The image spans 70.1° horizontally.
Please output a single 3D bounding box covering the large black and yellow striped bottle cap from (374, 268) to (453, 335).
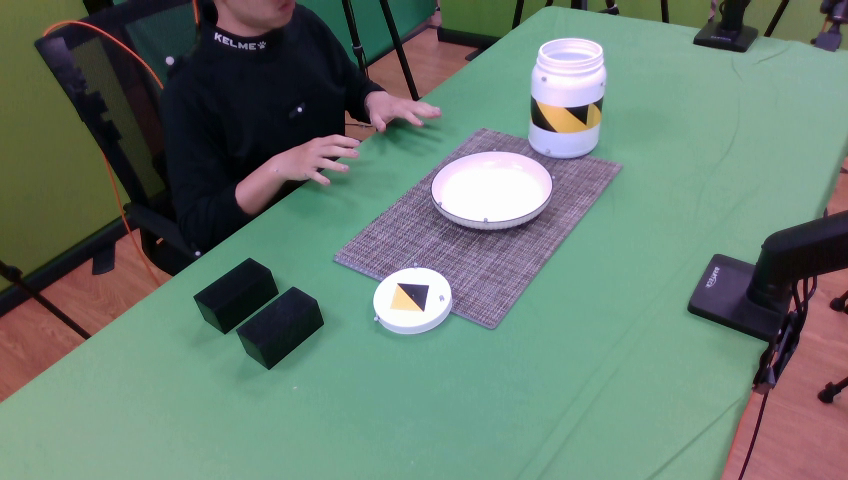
[{"bbox_3d":[-0.015,0.087,0.871,0.115,0.019,0.114,-6,43,6],"label":"large black and yellow striped bottle cap"}]

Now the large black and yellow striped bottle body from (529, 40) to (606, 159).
[{"bbox_3d":[0.259,-0.257,1.103,0.131,0.185,0.130,-3,38,3],"label":"large black and yellow striped bottle body"}]

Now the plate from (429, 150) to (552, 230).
[{"bbox_3d":[0.113,-0.082,1.032,0.207,0.039,0.206,-4,41,4],"label":"plate"}]
